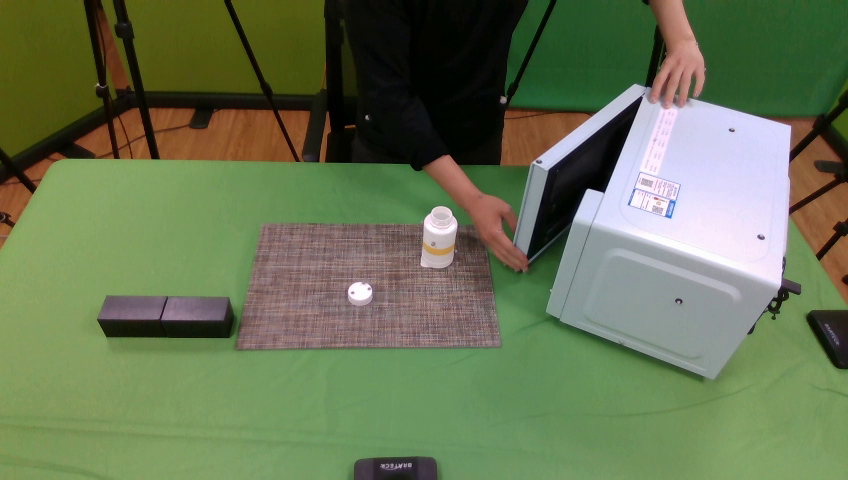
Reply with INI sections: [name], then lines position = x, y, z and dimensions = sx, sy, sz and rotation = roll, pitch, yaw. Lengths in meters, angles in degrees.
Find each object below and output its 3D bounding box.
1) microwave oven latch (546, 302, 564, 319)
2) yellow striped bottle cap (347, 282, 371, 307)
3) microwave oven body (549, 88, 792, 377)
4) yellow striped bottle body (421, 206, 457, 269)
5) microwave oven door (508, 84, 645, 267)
[microwave oven latch]
position = 0.242, 0.102, 1.081
dimensions = 0.030, 0.029, 0.079
rotation = 22, 48, 17
[yellow striped bottle cap]
position = -0.117, 0.098, 1.093
dimensions = 0.044, 0.019, 0.044
rotation = 3, 46, -3
[microwave oven body]
position = 0.455, -0.028, 1.088
dimensions = 0.325, 0.261, 0.440
rotation = 20, 47, 16
[yellow striped bottle body]
position = 0.028, -0.008, 1.132
dimensions = 0.063, 0.121, 0.062
rotation = 2, 46, -2
[microwave oven door]
position = 0.299, -0.129, 1.167
dimensions = 0.039, 0.245, 0.355
rotation = 35, 53, 26
